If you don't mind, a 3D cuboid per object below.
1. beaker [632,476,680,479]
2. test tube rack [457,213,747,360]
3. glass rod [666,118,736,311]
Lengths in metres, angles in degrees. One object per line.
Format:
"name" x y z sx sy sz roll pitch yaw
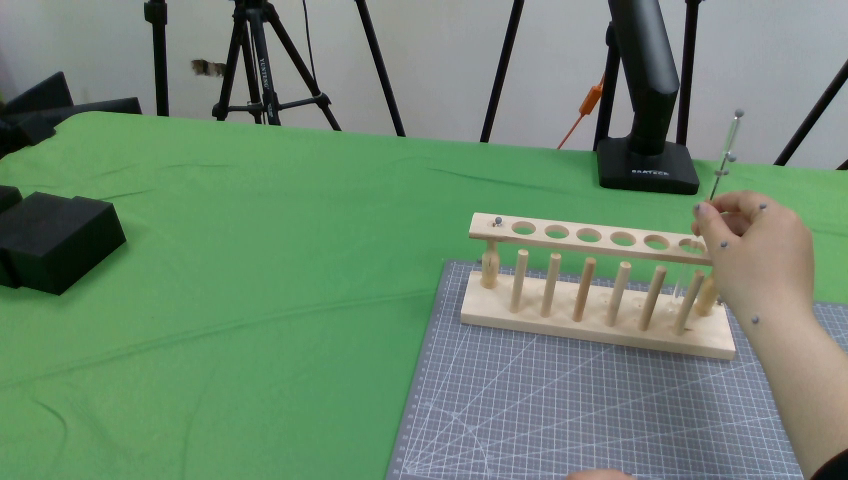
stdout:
"beaker" 0.119 0.189 0.324 0.084 0.101 0.073 -2 34 -8
"test tube rack" 0.156 0.040 0.555 0.242 0.086 0.066 7 37 9
"glass rod" 0.230 -0.011 0.509 0.008 0.201 0.008 -1 39 1
